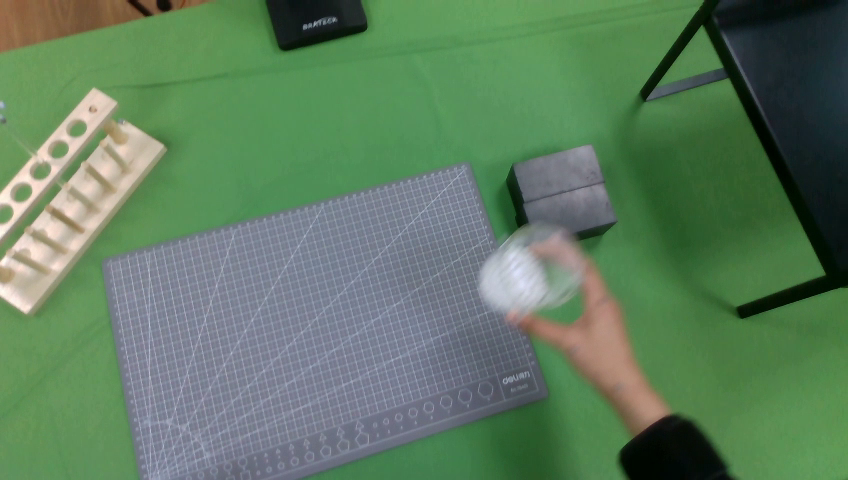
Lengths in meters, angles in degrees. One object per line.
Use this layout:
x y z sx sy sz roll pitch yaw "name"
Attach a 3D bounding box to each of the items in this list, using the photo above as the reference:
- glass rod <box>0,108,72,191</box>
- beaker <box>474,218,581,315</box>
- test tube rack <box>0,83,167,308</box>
-0.406 -0.100 0.625 0.008 0.201 0.008 2 66 -4 "glass rod"
0.089 0.032 0.562 0.074 0.100 0.083 25 74 -3 "beaker"
-0.405 -0.048 0.678 0.066 0.085 0.241 31 76 7 "test tube rack"
